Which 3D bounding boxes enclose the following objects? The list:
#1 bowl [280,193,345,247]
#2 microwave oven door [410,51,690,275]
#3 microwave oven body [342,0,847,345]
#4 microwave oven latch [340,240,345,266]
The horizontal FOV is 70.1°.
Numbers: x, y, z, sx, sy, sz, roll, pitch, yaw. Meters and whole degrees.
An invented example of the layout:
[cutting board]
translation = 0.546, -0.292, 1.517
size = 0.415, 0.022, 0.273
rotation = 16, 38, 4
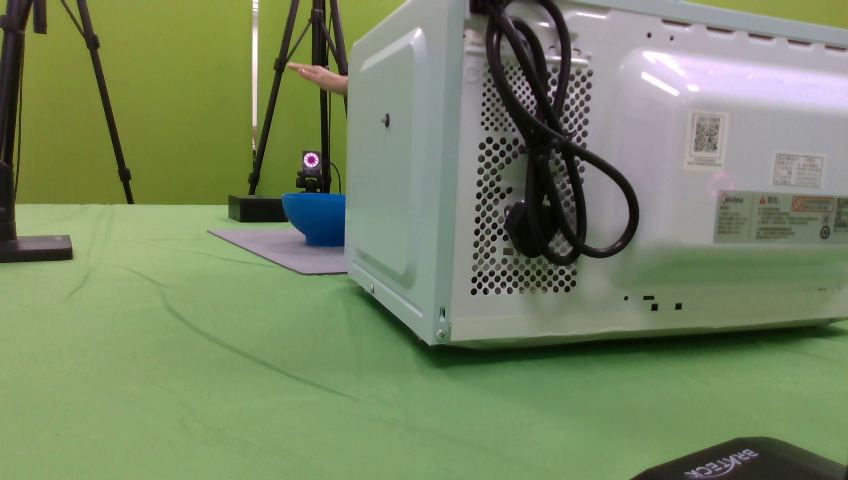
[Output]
[bowl]
translation = -0.153, -0.032, 0.970
size = 0.151, 0.077, 0.151
rotation = 3, 7, 0
[microwave oven door]
translation = 0.162, -0.084, 0.723
size = 0.357, 0.243, 0.039
rotation = 0, 8, -20
[microwave oven body]
translation = 0.169, -0.060, 0.573
size = 0.444, 0.260, 0.324
rotation = 1, 7, -20
[microwave oven latch]
translation = -0.052, 0.016, 0.662
size = 0.079, 0.029, 0.030
rotation = 1, 7, -19
